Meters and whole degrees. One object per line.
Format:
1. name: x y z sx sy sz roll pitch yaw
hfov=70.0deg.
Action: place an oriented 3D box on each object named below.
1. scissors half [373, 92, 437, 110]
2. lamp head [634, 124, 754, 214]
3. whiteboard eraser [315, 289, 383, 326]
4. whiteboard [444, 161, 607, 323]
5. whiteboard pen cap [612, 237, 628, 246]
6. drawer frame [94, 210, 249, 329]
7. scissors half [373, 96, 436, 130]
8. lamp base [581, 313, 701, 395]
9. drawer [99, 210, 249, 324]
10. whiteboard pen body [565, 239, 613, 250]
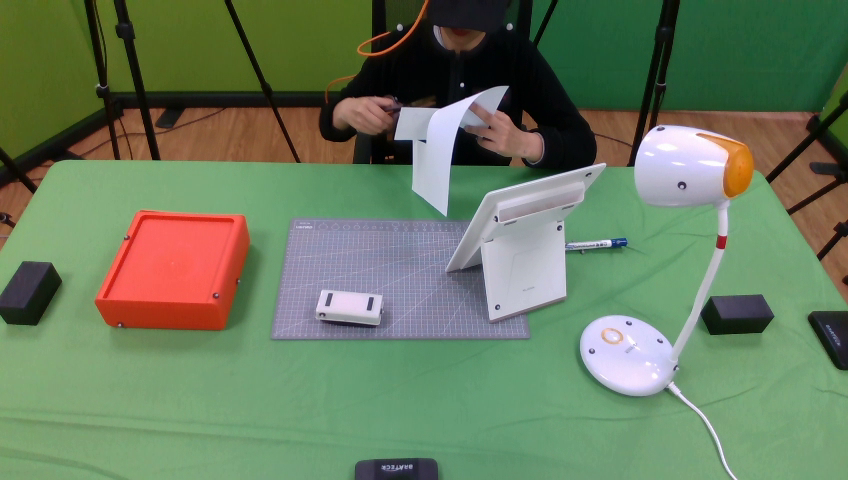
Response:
1. scissors half: -0.042 -0.292 1.280 0.174 0.040 0.013 13 4 38
2. lamp head: 0.351 -0.089 0.775 0.112 0.113 0.122 -30 30 -28
3. whiteboard eraser: -0.130 0.119 1.054 0.113 0.042 0.055 6 47 1
4. whiteboard: 0.186 0.025 1.029 0.217 0.306 0.143 -14 68 -18
5. whiteboard pen cap: 0.390 0.004 1.215 0.033 0.018 0.018 -7 47 -2
6. drawer frame: -0.434 0.048 1.076 0.202 0.083 0.212 2 47 -3
7. scissors half: -0.042 -0.270 1.279 0.013 0.175 0.040 -2 78 -52
8. lamp base: 0.361 0.144 0.972 0.178 0.181 0.160 34 53 23
9. drawer: -0.435 0.044 1.081 0.194 0.073 0.210 3 47 -2
10. whiteboard pen body: 0.331 0.008 1.211 0.141 0.017 0.017 -5 47 -4
